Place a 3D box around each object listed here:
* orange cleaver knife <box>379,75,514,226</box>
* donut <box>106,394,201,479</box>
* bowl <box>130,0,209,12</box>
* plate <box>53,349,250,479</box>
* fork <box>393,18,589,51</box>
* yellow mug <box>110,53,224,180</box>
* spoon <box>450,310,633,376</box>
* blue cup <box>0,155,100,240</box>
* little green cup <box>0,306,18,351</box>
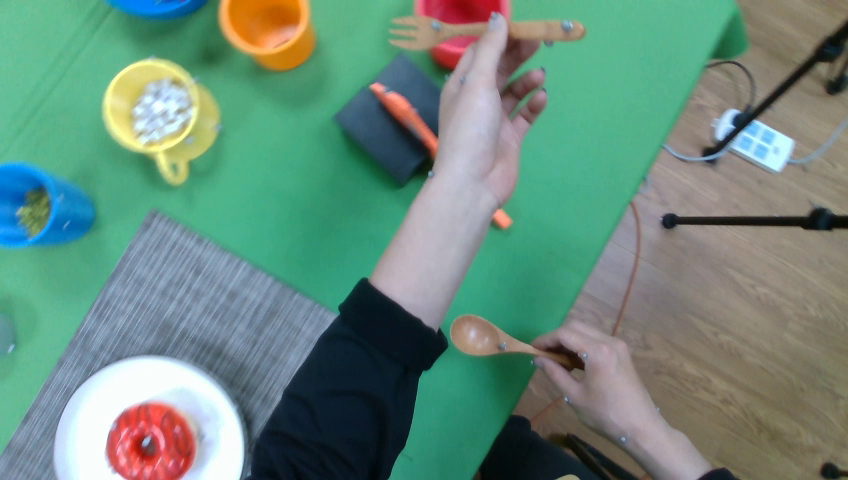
[{"bbox_3d":[0.027,-0.094,0.656,0.012,0.076,0.213,-44,117,0],"label":"orange cleaver knife"},{"bbox_3d":[-0.291,0.215,0.653,0.099,0.048,0.099,0,91,0],"label":"donut"},{"bbox_3d":[-0.274,-0.316,0.667,0.151,0.077,0.151,0,88,0],"label":"bowl"},{"bbox_3d":[-0.292,0.221,0.664,0.209,0.038,0.209,0,88,0],"label":"plate"},{"bbox_3d":[0.040,-0.160,0.469,0.019,0.205,0.028,7,100,-39],"label":"fork"},{"bbox_3d":[-0.277,-0.131,0.667,0.100,0.064,0.130,-11,89,0],"label":"yellow mug"},{"bbox_3d":[0.120,0.112,0.619,0.193,0.022,0.041,14,69,3],"label":"spoon"},{"bbox_3d":[-0.401,-0.039,0.647,0.093,0.100,0.092,0,88,-1],"label":"blue cup"},{"bbox_3d":[-0.489,0.100,0.673,0.061,0.038,0.061,0,87,1],"label":"little green cup"}]
